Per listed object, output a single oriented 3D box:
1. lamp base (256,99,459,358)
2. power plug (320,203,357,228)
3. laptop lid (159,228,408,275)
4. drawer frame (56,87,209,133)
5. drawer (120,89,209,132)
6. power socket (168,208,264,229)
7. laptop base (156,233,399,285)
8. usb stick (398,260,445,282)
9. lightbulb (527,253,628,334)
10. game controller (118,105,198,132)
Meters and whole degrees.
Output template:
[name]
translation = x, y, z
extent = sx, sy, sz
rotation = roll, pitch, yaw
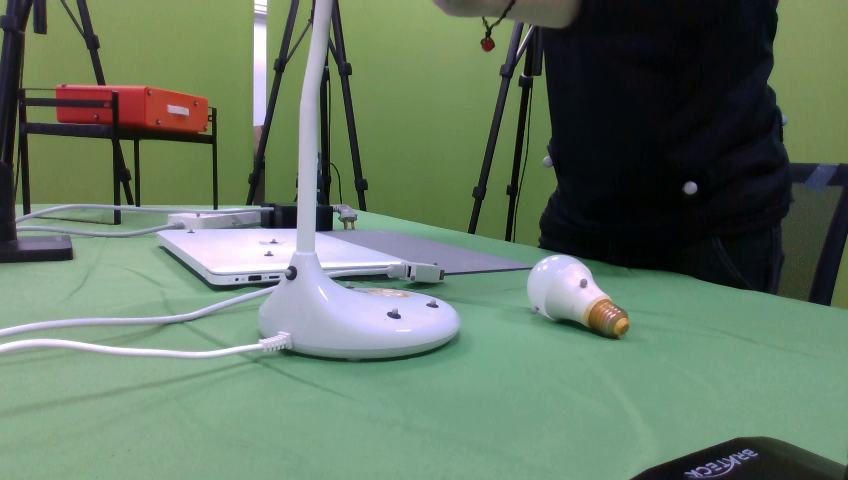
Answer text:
[lamp base]
translation = -0.055, -0.013, 0.463
extent = 0.160, 0.180, 0.180
rotation = 6, 11, 27
[power plug]
translation = -0.170, -0.046, 1.209
extent = 0.073, 0.052, 0.035
rotation = -6, -17, -9
[laptop lid]
translation = -0.202, 0.007, 0.806
extent = 0.243, 0.013, 0.355
rotation = -1, 8, -31
[drawer frame]
translation = -0.598, -0.269, 1.261
extent = 0.213, 0.082, 0.202
rotation = 4, 8, 14
[drawer]
translation = -0.595, -0.268, 1.263
extent = 0.211, 0.073, 0.195
rotation = 4, 8, 15
[power socket]
translation = -0.381, -0.038, 1.128
extent = 0.072, 0.032, 0.227
rotation = 4, 8, 16
[laptop base]
translation = -0.204, 0.019, 0.806
extent = 0.237, 0.023, 0.352
rotation = 0, 7, -33
[usb stick]
translation = -0.001, 0.036, 0.696
extent = 0.027, 0.021, 0.059
rotation = 8, 1, 43
[lightbulb]
translation = 0.137, 0.050, 0.534
extent = 0.060, 0.059, 0.107
rotation = -3, 24, -33
[game controller]
translation = -0.554, -0.252, 1.254
extent = 0.097, 0.051, 0.155
rotation = 6, 11, 19
